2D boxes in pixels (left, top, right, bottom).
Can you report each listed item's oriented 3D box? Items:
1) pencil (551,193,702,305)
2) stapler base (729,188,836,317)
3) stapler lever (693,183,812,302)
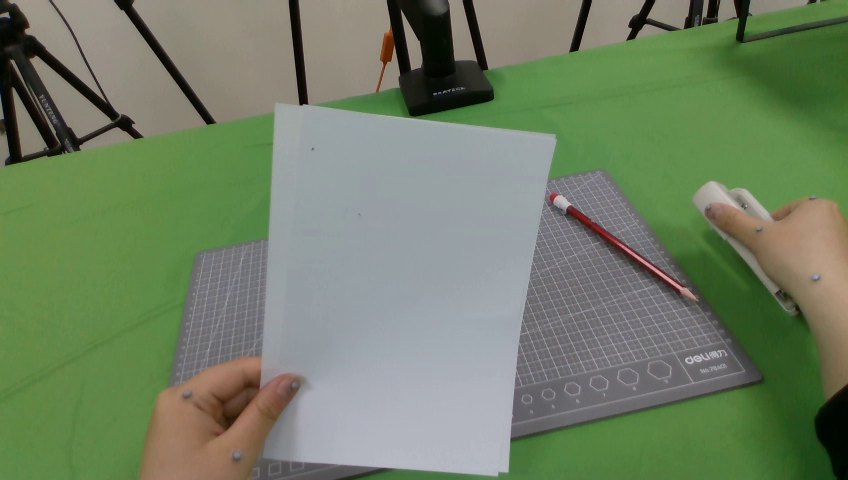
[{"bbox_3d":[0.181,0.003,0.562,0.012,0.012,0.192,-24,42,-18],"label":"pencil"},{"bbox_3d":[0.283,0.003,0.511,0.024,0.041,0.129,16,36,-31],"label":"stapler base"},{"bbox_3d":[0.264,-0.003,0.497,0.040,0.027,0.116,17,36,-30],"label":"stapler lever"}]
